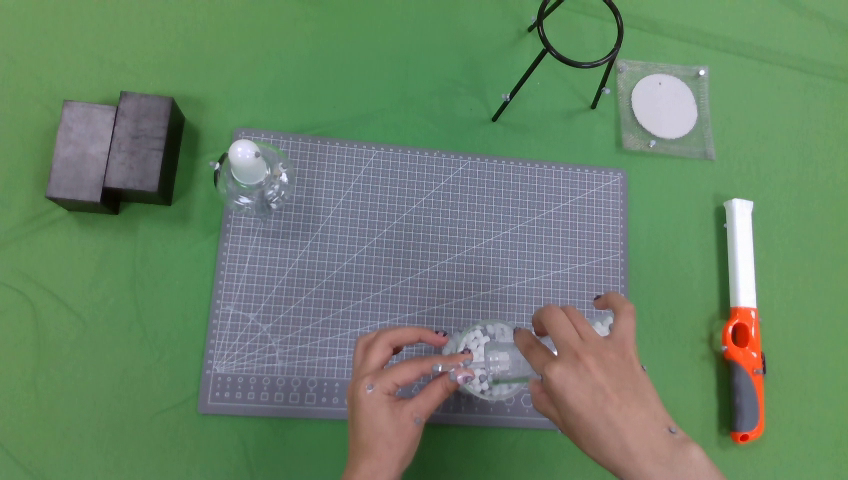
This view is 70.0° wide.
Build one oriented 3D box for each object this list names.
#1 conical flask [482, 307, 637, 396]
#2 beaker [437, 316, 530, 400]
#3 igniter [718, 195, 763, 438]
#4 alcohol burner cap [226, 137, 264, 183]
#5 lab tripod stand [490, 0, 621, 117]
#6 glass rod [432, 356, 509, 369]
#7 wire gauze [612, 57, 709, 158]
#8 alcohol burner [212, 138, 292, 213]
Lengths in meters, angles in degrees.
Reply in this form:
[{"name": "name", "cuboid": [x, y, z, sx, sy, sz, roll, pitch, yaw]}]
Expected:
[{"name": "conical flask", "cuboid": [0.111, 0.099, 0.515, 0.122, 0.075, 0.075, -5, 79, 1]}, {"name": "beaker", "cuboid": [0.057, 0.115, 0.602, 0.084, 0.100, 0.074, -38, 86, -14]}, {"name": "igniter", "cuboid": [0.361, 0.084, 0.694, 0.057, 0.025, 0.275, 8, 78, -18]}, {"name": "alcohol burner cap", "cuboid": [-0.167, -0.077, 0.559, 0.034, 0.048, 0.033, 3, 71, -10]}, {"name": "lab tripod stand", "cuboid": [0.142, -0.200, 0.661, 0.149, 0.131, 0.148, 1, 81, -8]}, {"name": "glass rod", "cuboid": [0.047, 0.108, 0.532, 0.008, 0.201, 0.008, -4, 79, 23]}, {"name": "wire gauze", "cuboid": [0.291, -0.165, 0.742, 0.125, 0.011, 0.121, 4, 79, -10]}, {"name": "alcohol burner", "cuboid": [-0.171, -0.068, 0.594, 0.078, 0.119, 0.077, 1, 79, -6]}]
